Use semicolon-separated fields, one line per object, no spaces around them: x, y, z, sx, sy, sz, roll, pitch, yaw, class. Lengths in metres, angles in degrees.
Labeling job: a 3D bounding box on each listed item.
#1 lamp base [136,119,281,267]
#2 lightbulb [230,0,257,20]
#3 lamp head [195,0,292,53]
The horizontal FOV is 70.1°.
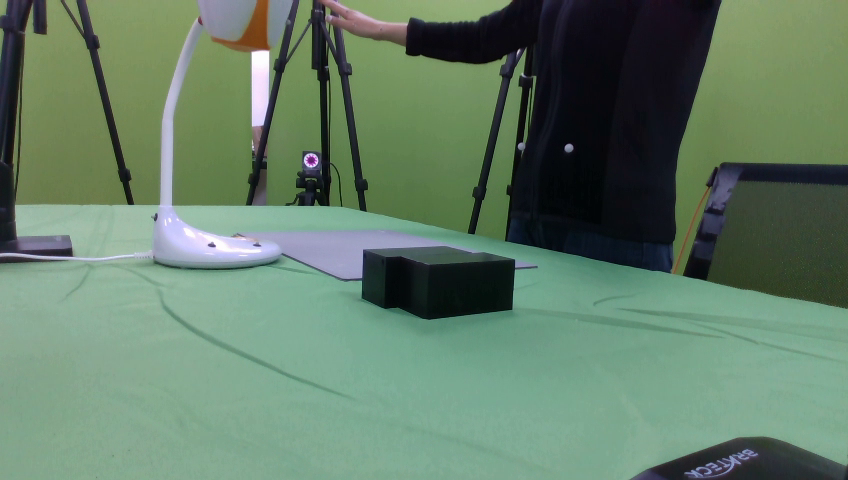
-0.275;-0.061;0.773;0.160;0.180;0.180;9;13;44;lamp base
-0.175;-0.275;0.603;0.059;0.107;0.059;11;11;-2;lightbulb
-0.185;-0.254;0.610;0.112;0.123;0.112;10;20;-3;lamp head
